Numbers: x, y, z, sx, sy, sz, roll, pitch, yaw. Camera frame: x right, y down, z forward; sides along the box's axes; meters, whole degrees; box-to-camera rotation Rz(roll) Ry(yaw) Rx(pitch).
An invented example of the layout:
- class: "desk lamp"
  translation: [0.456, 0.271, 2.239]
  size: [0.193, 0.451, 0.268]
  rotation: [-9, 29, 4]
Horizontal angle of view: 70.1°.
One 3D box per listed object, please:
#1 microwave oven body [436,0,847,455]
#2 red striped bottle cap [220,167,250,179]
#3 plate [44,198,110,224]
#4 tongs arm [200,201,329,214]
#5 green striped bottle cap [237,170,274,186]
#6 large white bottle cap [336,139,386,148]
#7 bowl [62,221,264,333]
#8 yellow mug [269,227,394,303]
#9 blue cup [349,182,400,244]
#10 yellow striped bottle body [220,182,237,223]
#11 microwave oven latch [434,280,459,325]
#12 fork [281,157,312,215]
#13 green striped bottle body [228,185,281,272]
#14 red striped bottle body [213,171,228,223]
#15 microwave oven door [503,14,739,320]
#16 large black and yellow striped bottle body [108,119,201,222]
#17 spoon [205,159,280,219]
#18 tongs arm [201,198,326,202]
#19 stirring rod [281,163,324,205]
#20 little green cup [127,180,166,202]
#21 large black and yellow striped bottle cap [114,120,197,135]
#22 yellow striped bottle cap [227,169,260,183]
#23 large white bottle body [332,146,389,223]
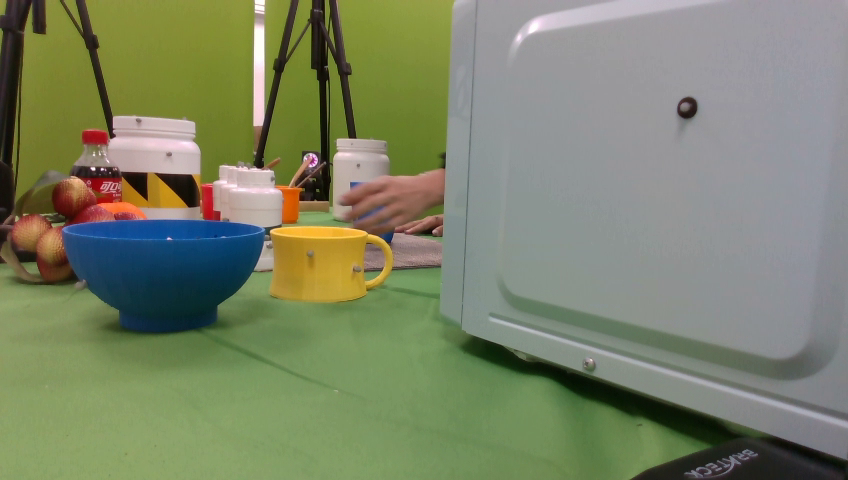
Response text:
- class: "microwave oven body"
  translation: [0.279, -0.040, 0.465]
  size: [0.444, 0.260, 0.324]
  rotation: [-3, 9, -41]
- class: "red striped bottle cap"
  translation: [-0.281, -0.100, 0.901]
  size: [0.044, 0.017, 0.044]
  rotation: [0, 5, 0]
- class: "plate"
  translation: [-0.617, -0.056, 1.179]
  size: [0.209, 0.038, 0.209]
  rotation: [3, 7, 0]
- class: "tongs arm"
  translation: [-0.378, -0.079, 1.440]
  size: [0.387, 0.026, 0.050]
  rotation: [-4, 7, -44]
- class: "green striped bottle cap"
  translation: [-0.205, -0.075, 0.737]
  size: [0.044, 0.020, 0.044]
  rotation: [1, 6, 0]
- class: "large white bottle cap"
  translation: [-0.143, -0.219, 1.375]
  size: [0.115, 0.018, 0.115]
  rotation: [2, 8, 0]
- class: "bowl"
  translation: [-0.209, 0.029, 0.496]
  size: [0.151, 0.077, 0.151]
  rotation: [2, 7, 0]
- class: "yellow mug"
  translation: [-0.094, 0.023, 0.629]
  size: [0.131, 0.064, 0.099]
  rotation: [0, 6, -22]
- class: "blue cup"
  translation: [-0.083, -0.046, 1.009]
  size: [0.093, 0.100, 0.092]
  rotation: [1, 6, 0]
- class: "yellow striped bottle body"
  translation: [-0.246, -0.036, 0.825]
  size: [0.063, 0.120, 0.063]
  rotation: [3, 8, 0]
- class: "microwave oven latch"
  translation: [0.044, 0.045, 0.470]
  size: [0.079, 0.029, 0.030]
  rotation: [-2, 8, -39]
- class: "fork"
  translation: [-0.289, -0.116, 1.321]
  size: [0.028, 0.019, 0.207]
  rotation: [6, 51, 18]
- class: "green striped bottle body"
  translation: [-0.208, -0.023, 0.745]
  size: [0.063, 0.119, 0.063]
  rotation: [2, 7, 0]
- class: "red striped bottle body"
  translation: [-0.284, -0.048, 0.909]
  size: [0.063, 0.119, 0.063]
  rotation: [3, 12, 0]
- class: "microwave oven door"
  translation: [0.217, -0.065, 0.600]
  size: [0.358, 0.243, 0.039]
  rotation: [-4, 10, -41]
- class: "large black and yellow striped bottle body"
  translation: [-0.412, -0.088, 0.930]
  size: [0.131, 0.184, 0.130]
  rotation: [3, 7, 0]
- class: "spoon"
  translation: [-0.365, -0.103, 1.214]
  size: [0.193, 0.021, 0.041]
  rotation: [-42, 4, 6]
- class: "tongs arm"
  translation: [-0.433, -0.089, 1.508]
  size: [0.390, 0.028, 0.028]
  rotation: [-1, 2, -29]
- class: "stirring rod"
  translation: [-0.278, -0.105, 1.294]
  size: [0.176, 0.006, 0.014]
  rotation: [-47, 26, -18]
- class: "little green cup"
  translation: [-0.486, -0.086, 1.061]
  size: [0.061, 0.038, 0.061]
  rotation: [1, 7, 0]
- class: "large black and yellow striped bottle cap"
  translation: [-0.407, -0.171, 0.920]
  size: [0.115, 0.019, 0.115]
  rotation: [2, 9, 0]
- class: "yellow striped bottle cap"
  translation: [-0.243, -0.086, 0.818]
  size: [0.044, 0.018, 0.044]
  rotation: [3, 6, 0]
- class: "large white bottle body"
  translation: [-0.146, -0.136, 1.387]
  size: [0.131, 0.184, 0.130]
  rotation: [2, 7, 0]
